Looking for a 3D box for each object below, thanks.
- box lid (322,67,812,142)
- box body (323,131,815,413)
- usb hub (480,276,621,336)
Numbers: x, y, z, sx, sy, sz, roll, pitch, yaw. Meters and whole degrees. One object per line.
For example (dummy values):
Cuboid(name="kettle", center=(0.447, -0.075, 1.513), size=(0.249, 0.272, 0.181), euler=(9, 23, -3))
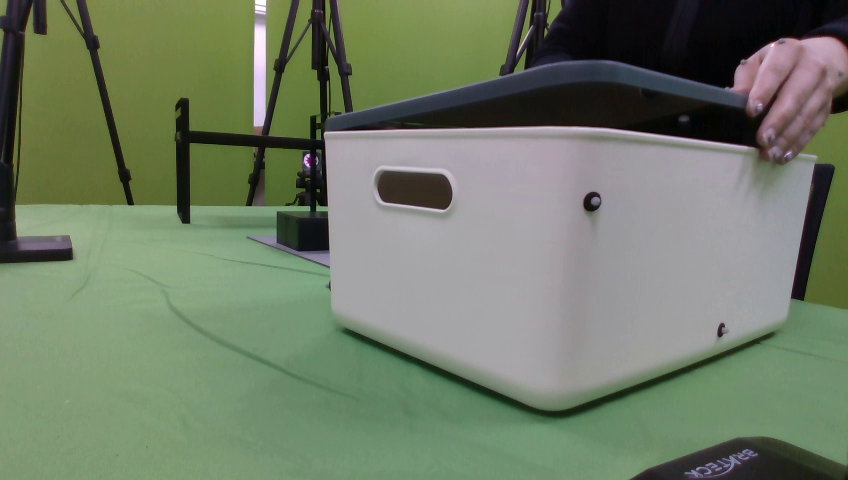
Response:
Cuboid(name="box lid", center=(0.131, -0.096, 0.512), size=(0.374, 0.015, 0.262), euler=(-5, 5, -41))
Cuboid(name="box body", center=(0.125, 0.000, 0.510), size=(0.366, 0.160, 0.253), euler=(-4, 10, -41))
Cuboid(name="usb hub", center=(0.111, 0.054, 0.524), size=(0.126, 0.025, 0.049), euler=(-8, 11, -34))
